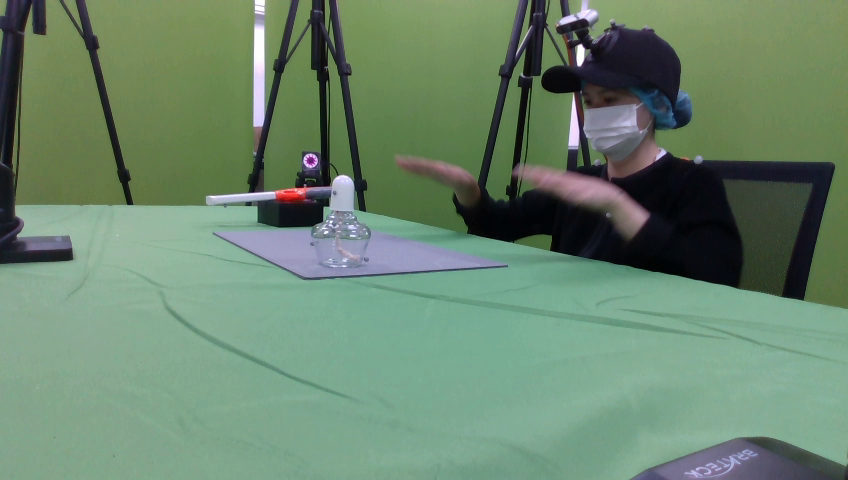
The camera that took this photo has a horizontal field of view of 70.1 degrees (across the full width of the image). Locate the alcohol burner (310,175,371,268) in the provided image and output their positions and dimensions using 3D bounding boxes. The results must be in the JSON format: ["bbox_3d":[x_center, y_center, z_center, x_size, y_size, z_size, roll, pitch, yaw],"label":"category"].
[{"bbox_3d":[-0.107,-0.024,0.778,0.078,0.119,0.078,3,5,0],"label":"alcohol burner"}]

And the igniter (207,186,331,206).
[{"bbox_3d":[-0.300,-0.091,1.241,0.278,0.025,0.057,-8,11,-34],"label":"igniter"}]

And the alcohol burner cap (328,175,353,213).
[{"bbox_3d":[-0.106,-0.059,0.774,0.034,0.048,0.034,5,8,0],"label":"alcohol burner cap"}]
